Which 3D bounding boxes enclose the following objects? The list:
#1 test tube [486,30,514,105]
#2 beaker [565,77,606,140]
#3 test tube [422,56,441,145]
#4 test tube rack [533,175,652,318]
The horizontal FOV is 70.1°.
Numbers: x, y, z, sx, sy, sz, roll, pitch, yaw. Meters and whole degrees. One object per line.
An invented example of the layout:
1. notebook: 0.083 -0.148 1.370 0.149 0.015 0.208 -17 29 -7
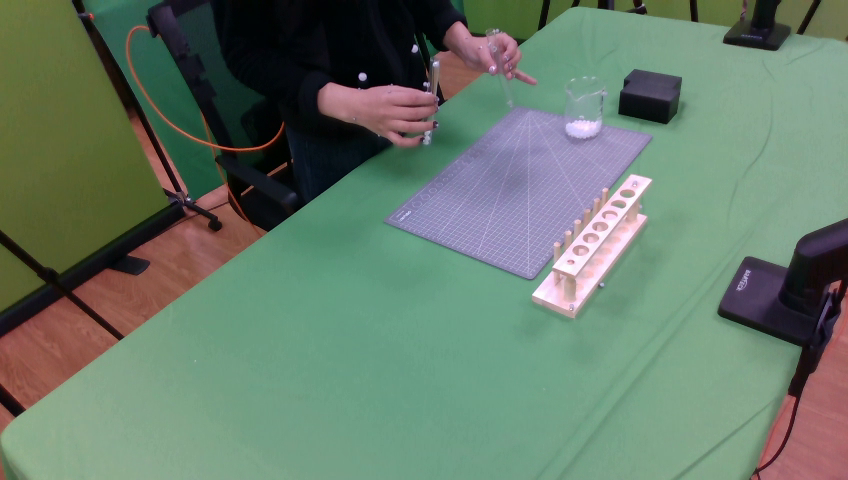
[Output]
1. test tube: 0.136 -0.303 1.073 0.017 0.151 0.017 -14 44 14
2. beaker: 0.304 -0.247 1.153 0.073 0.101 0.084 15 47 27
3. test tube: 0.011 -0.218 0.959 0.017 0.151 0.017 5 38 -3
4. test tube rack: 0.250 -0.001 0.889 0.066 0.085 0.243 22 49 33
